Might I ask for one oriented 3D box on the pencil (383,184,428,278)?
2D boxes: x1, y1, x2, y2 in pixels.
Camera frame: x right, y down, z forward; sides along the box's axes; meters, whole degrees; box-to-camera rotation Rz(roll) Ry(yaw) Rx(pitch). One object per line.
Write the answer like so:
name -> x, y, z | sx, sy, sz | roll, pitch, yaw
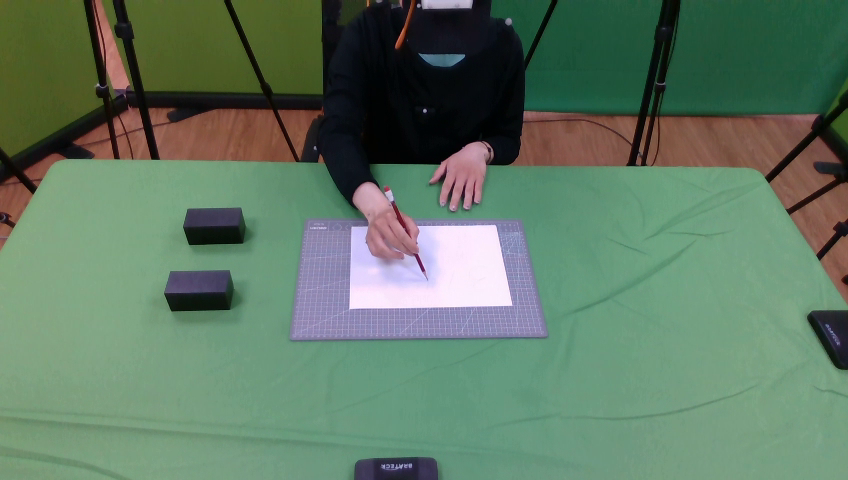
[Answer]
pencil -> -0.031, -0.014, 1.107 | 0.012, 0.194, 0.012 | -23, 15, 6
